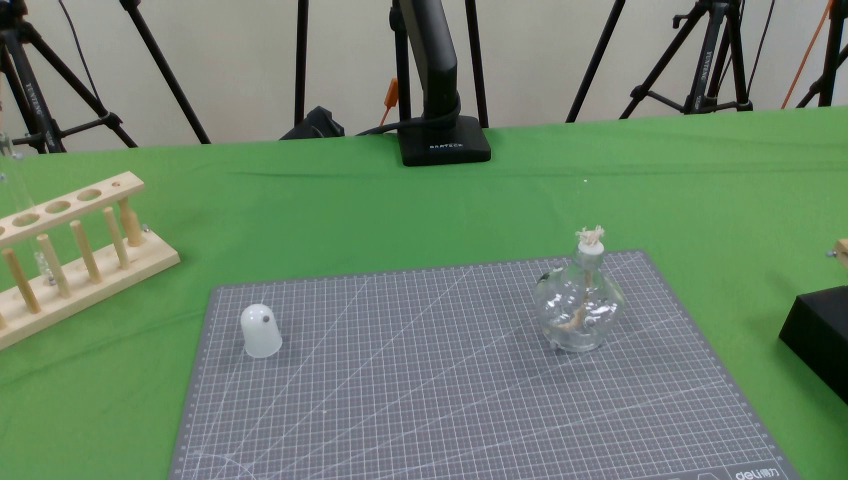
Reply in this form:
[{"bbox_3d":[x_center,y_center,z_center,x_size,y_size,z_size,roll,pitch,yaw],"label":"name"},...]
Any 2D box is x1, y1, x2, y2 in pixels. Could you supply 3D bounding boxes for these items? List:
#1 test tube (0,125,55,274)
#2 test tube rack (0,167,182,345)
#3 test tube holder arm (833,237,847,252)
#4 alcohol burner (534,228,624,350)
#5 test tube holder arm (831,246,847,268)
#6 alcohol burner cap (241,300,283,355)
[{"bbox_3d":[-0.362,-0.032,0.553,0.017,0.151,0.017,2,32,-1],"label":"test tube"},{"bbox_3d":[-0.363,0.023,0.562,0.066,0.086,0.242,30,46,34],"label":"test tube rack"},{"bbox_3d":[0.391,0.026,0.526,0.015,0.010,0.087,-1,36,-5],"label":"test tube holder arm"},{"bbox_3d":[0.134,0.037,0.518,0.078,0.120,0.077,1,39,0],"label":"alcohol burner"},{"bbox_3d":[0.394,0.056,0.493,0.015,0.013,0.176,-1,35,-5],"label":"test tube holder arm"},{"bbox_3d":[-0.143,0.073,0.529,0.034,0.048,0.033,0,37,0],"label":"alcohol burner cap"}]
